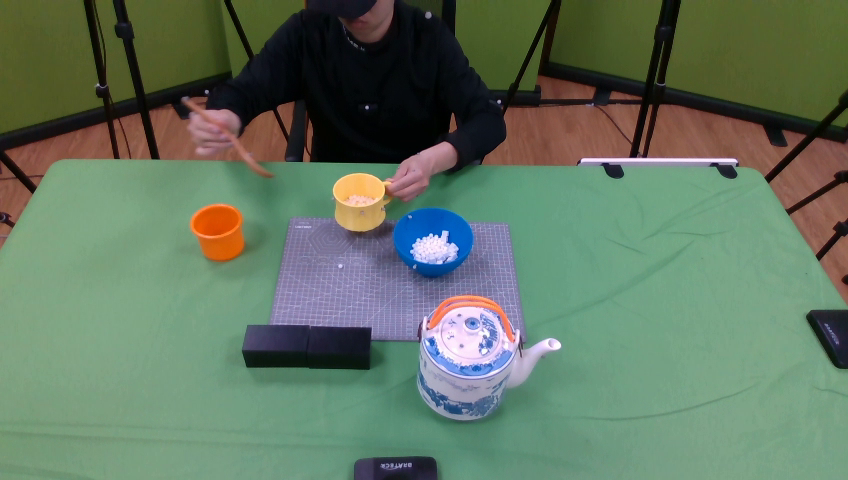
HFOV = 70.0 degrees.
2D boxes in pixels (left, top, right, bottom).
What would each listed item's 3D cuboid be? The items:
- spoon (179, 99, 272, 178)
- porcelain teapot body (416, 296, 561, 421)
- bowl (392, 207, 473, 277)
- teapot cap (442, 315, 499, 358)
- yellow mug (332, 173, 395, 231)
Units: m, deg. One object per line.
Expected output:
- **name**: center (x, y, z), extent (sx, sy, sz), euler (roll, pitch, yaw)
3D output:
- **spoon**: center (-0.339, -0.172, 1.042), extent (0.021, 0.194, 0.041), euler (-47, 21, -11)
- **porcelain teapot body**: center (0.094, 0.164, 0.907), extent (0.205, 0.226, 0.144), euler (6, 45, 1)
- **bowl**: center (0.014, 0.016, 1.140), extent (0.151, 0.077, 0.150), euler (2, 46, -2)
- **teapot cap**: center (0.068, 0.133, 0.880), extent (0.085, 0.044, 0.084), euler (4, 45, -4)
- **yellow mug**: center (-0.113, -0.080, 1.176), extent (0.131, 0.064, 0.099), euler (-22, 51, -25)
